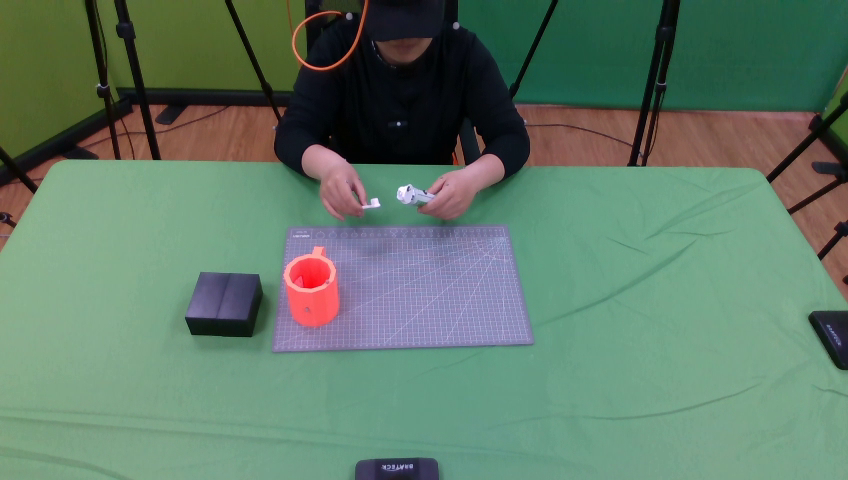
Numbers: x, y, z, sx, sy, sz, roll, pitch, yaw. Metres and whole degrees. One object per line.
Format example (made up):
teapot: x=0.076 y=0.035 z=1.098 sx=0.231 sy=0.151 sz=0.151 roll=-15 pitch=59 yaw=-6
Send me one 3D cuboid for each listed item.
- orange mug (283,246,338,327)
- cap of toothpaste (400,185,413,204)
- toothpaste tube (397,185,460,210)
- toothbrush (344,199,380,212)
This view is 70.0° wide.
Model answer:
orange mug: x=-0.192 y=0.074 z=1.056 sx=0.083 sy=0.101 sz=0.125 roll=5 pitch=50 yaw=1
cap of toothpaste: x=-0.033 y=-0.083 z=1.094 sx=0.011 sy=0.037 sz=0.037 roll=24 pitch=49 yaw=23
toothpaste tube: x=0.005 y=-0.078 z=1.177 sx=0.055 sy=0.166 sz=0.034 roll=-3 pitch=81 yaw=35
toothbrush: x=-0.121 y=-0.064 z=1.157 sx=0.014 sy=0.016 sz=0.181 roll=-15 pitch=5 yaw=-25
